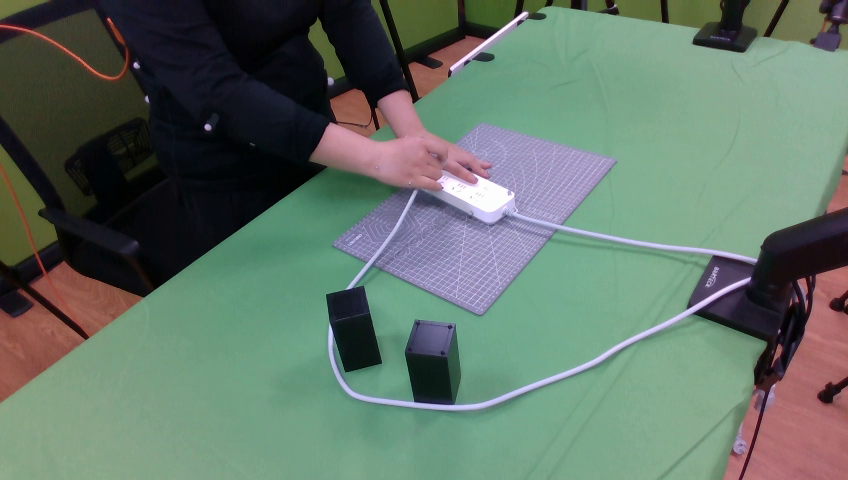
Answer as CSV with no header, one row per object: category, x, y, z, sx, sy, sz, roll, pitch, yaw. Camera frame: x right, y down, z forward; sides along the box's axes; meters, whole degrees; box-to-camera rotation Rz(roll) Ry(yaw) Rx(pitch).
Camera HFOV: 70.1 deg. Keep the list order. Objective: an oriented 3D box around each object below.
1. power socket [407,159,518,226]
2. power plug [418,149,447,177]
power socket,0.061,-0.089,1.054,0.072,0.033,0.225,-36,48,-29
power plug,0.008,-0.122,1.003,0.035,0.053,0.072,35,70,27
